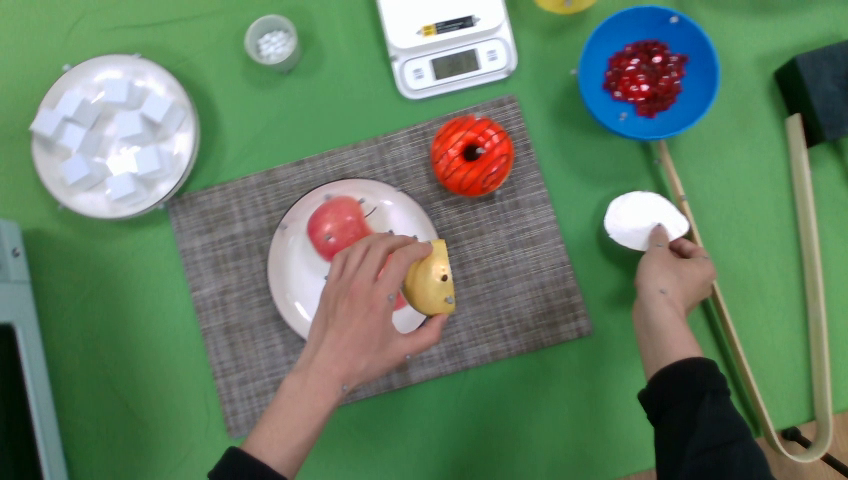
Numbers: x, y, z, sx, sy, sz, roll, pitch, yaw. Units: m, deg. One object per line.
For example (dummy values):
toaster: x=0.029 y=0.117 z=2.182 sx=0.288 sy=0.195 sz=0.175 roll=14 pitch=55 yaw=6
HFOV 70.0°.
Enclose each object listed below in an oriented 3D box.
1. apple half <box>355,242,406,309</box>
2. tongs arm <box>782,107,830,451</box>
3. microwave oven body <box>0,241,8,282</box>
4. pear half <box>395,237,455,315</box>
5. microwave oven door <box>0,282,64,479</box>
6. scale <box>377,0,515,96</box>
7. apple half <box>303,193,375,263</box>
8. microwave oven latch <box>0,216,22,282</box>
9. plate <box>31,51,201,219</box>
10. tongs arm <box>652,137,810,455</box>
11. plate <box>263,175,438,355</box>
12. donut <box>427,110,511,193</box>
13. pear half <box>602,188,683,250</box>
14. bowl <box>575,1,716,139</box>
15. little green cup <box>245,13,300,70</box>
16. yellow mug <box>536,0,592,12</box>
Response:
apple half: x=-0.044 y=0.043 z=0.703 sx=0.081 sy=0.033 sz=0.081 roll=0 pitch=85 yaw=3
tongs arm: x=0.430 y=0.040 z=0.689 sx=0.028 sy=0.028 sz=0.386 roll=-2 pitch=86 yaw=-5
microwave oven body: x=-0.614 y=0.210 z=0.619 sx=0.326 sy=0.260 sz=0.440 roll=-14 pitch=85 yaw=2
pear half: x=0.002 y=0.035 z=0.577 sx=0.056 sy=0.110 sz=0.076 roll=-13 pitch=84 yaw=-8
microwave oven door: x=-0.463 y=0.214 z=0.603 sx=0.039 sy=0.244 sz=0.355 roll=-15 pitch=84 yaw=2
scale: x=0.020 y=-0.285 z=0.737 sx=0.148 sy=0.031 sz=0.200 roll=-13 pitch=85 yaw=3
apple half: x=-0.102 y=-0.013 z=0.698 sx=0.074 sy=0.053 sz=0.080 roll=-23 pitch=87 yaw=3
microwave oven latch: x=-0.507 y=0.011 z=0.725 sx=0.030 sy=0.029 sz=0.079 roll=-11 pitch=85 yaw=2
plate: x=-0.373 y=-0.127 z=0.746 sx=0.207 sy=0.039 sz=0.207 roll=0 pitch=85 yaw=4
tongs arm: x=0.345 y=0.058 z=0.688 sx=0.051 sy=0.026 sz=0.384 roll=-17 pitch=86 yaw=-3
plate: x=-0.081 y=0.029 z=0.711 sx=0.209 sy=0.038 sz=0.208 roll=0 pitch=85 yaw=4
donut: x=0.052 y=-0.104 z=0.710 sx=0.099 sy=0.048 sz=0.099 roll=0 pitch=87 yaw=6
pear half: x=0.253 y=-0.022 z=0.701 sx=0.087 sy=0.031 sz=0.070 roll=11 pitch=90 yaw=21
bowl: x=0.242 y=-0.182 z=0.692 sx=0.151 sy=0.077 sz=0.151 roll=0 pitch=86 yaw=4
little green cup: x=-0.183 y=-0.240 z=0.743 sx=0.061 sy=0.039 sz=0.061 roll=0 pitch=85 yaw=4
yellow mug: x=0.158 y=-0.342 z=0.715 sx=0.130 sy=0.064 sz=0.100 roll=40 pitch=89 yaw=7
